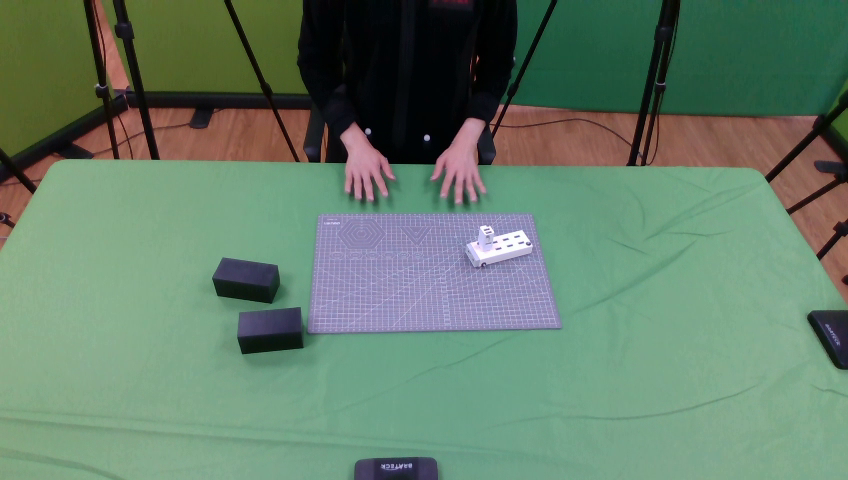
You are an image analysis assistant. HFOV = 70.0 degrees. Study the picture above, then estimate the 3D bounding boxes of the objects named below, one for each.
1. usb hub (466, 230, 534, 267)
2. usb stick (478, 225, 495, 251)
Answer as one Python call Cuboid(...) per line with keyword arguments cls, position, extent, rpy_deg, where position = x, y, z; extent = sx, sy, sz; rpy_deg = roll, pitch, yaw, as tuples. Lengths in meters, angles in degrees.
Cuboid(cls="usb hub", position=(0.148, 0.017, 1.185), extent=(0.125, 0.025, 0.049), rpy_deg=(-14, 49, -16))
Cuboid(cls="usb stick", position=(0.118, 0.001, 1.158), extent=(0.021, 0.059, 0.027), rpy_deg=(-15, 51, -19))
